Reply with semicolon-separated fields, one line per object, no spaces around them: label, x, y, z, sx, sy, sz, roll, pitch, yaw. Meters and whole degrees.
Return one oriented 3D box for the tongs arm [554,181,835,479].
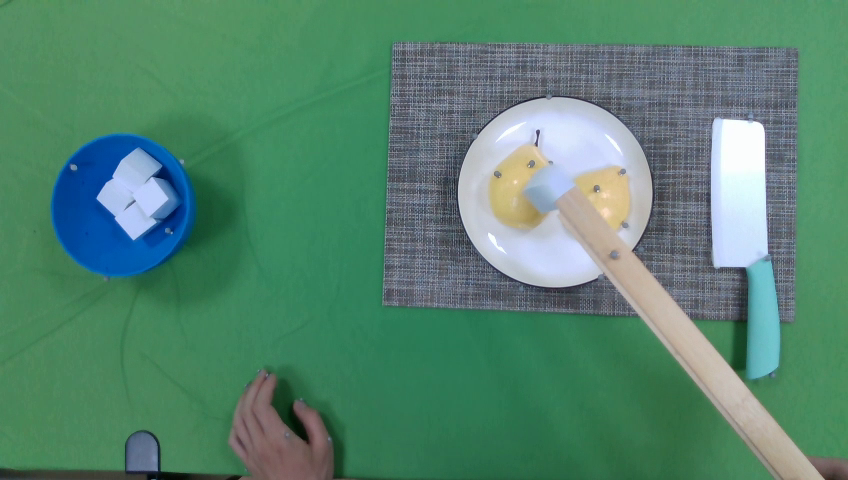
tongs arm;0.237;0.104;0.489;0.028;0.028;0.385;-38;78;3

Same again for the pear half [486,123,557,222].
pear half;0.108;-0.077;0.646;0.076;0.056;0.109;12;85;-1

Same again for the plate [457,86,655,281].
plate;0.140;-0.059;0.658;0.207;0.039;0.207;0;88;4

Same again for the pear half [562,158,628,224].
pear half;0.188;-0.050;0.650;0.070;0.031;0.088;34;95;0

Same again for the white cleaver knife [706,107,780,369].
white cleaver knife;0.343;-0.005;0.658;0.066;0.021;0.285;-2;85;12

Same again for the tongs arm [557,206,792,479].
tongs arm;0.245;0.108;0.520;0.026;0.051;0.383;-39;80;6

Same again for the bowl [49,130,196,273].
bowl;-0.313;-0.038;0.666;0.151;0.077;0.151;0;88;3
